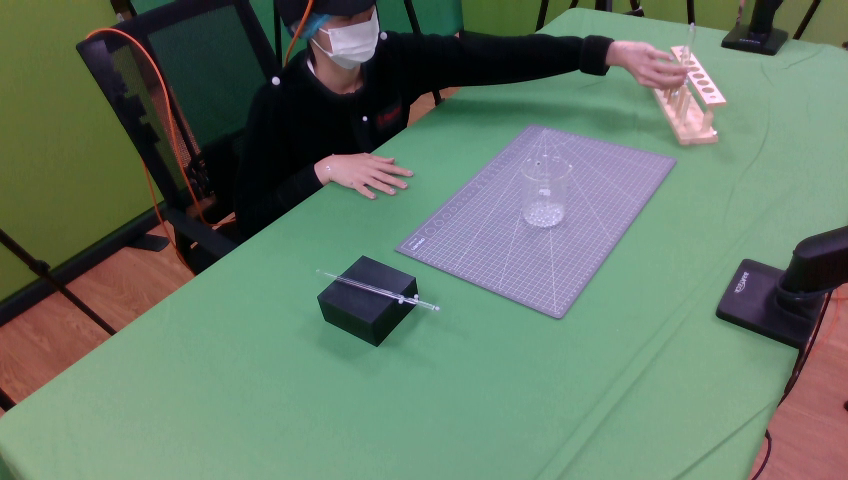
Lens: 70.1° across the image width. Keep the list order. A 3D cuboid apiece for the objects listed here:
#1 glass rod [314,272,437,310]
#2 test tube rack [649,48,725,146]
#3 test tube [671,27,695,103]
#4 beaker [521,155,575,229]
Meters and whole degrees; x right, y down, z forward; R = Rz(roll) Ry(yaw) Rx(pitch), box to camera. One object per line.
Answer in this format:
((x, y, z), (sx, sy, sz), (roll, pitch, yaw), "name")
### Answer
((-0.071, 0.069, 0.837), (0.198, 0.008, 0.008), (14, 44, 24), "glass rod")
((0.508, -0.285, 1.186), (0.067, 0.085, 0.241), (-4, 40, 6), "test tube rack")
((0.482, -0.323, 1.126), (0.017, 0.151, 0.017), (-4, 45, 4), "test tube")
((0.197, -0.075, 0.969), (0.084, 0.101, 0.073), (-6, 40, 2), "beaker")
